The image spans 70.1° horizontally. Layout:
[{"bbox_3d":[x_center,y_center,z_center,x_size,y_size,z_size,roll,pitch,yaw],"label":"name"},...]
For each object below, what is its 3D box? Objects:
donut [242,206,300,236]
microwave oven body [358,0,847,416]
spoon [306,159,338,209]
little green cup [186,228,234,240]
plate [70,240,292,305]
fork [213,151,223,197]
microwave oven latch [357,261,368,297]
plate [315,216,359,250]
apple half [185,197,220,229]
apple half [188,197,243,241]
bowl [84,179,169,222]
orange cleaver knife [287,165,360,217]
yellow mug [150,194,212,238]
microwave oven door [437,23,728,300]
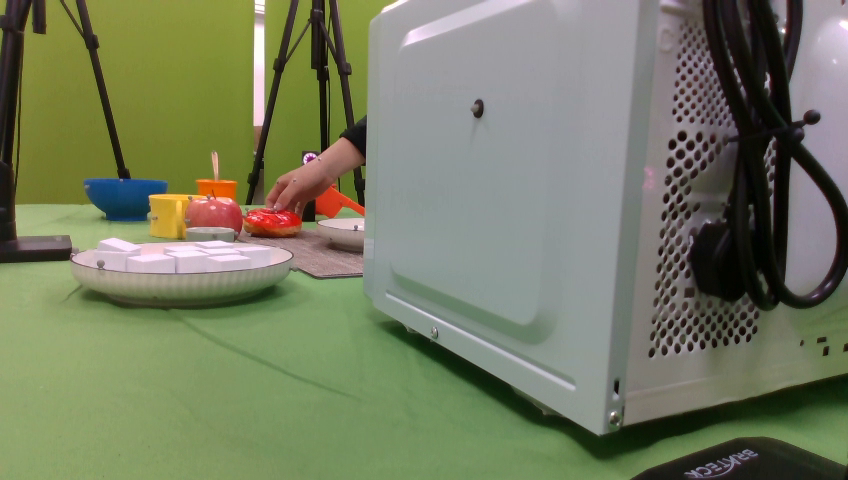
[{"bbox_3d":[-0.261,-0.031,1.035,0.099,0.048,0.099,5,11,-1],"label":"donut"},{"bbox_3d":[0.211,-0.047,0.474,0.444,0.260,0.324,-1,7,-28],"label":"microwave oven body"},{"bbox_3d":[-0.257,-0.147,1.567,0.041,0.022,0.193,2,50,19],"label":"spoon"},{"bbox_3d":[-0.284,0.005,0.805,0.061,0.038,0.061,3,8,0],"label":"little green cup"},{"bbox_3d":[-0.242,0.031,0.618,0.208,0.039,0.207,2,7,0],"label":"plate"},{"bbox_3d":[-0.494,-0.143,1.442,0.028,0.018,0.206,-2,52,-20],"label":"fork"},{"bbox_3d":[-0.019,0.033,0.531,0.079,0.029,0.030,-1,7,-27],"label":"microwave oven latch"},{"bbox_3d":[-0.068,-0.010,0.963,0.209,0.038,0.209,3,8,0],"label":"plate"},{"bbox_3d":[-0.338,-0.031,0.927,0.032,0.081,0.081,12,12,31],"label":"apple half"},{"bbox_3d":[-0.305,-0.026,0.907,0.053,0.074,0.081,12,8,31],"label":"apple half"},{"bbox_3d":[-0.584,-0.078,1.194,0.151,0.077,0.151,3,8,0],"label":"bowl"},{"bbox_3d":[-0.211,-0.093,1.382,0.212,0.077,0.012,33,1,-15],"label":"orange cleaver knife"},{"bbox_3d":[-0.401,-0.039,1.003,0.100,0.064,0.130,0,9,-20],"label":"yellow mug"},{"bbox_3d":[0.180,-0.072,0.621,0.358,0.243,0.039,-2,8,-29],"label":"microwave oven door"}]
